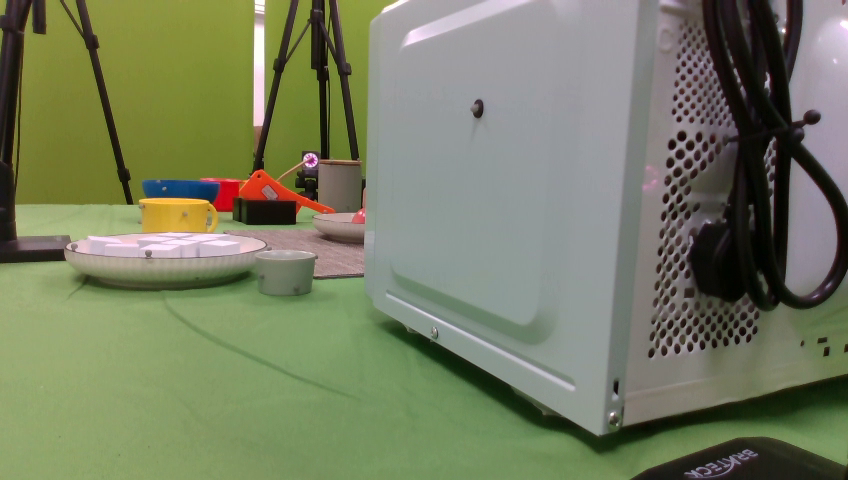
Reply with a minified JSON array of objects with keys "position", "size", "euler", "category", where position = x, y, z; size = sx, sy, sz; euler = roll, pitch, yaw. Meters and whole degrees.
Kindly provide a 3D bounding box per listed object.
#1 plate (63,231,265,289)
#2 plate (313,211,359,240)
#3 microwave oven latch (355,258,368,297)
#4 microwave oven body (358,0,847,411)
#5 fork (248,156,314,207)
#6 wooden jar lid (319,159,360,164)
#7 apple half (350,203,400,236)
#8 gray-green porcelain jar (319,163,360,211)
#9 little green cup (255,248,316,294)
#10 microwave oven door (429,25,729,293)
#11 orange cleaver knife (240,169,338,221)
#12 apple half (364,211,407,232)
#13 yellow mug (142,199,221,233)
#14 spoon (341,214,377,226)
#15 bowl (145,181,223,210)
[{"position":[-0.288,0.021,0.686],"size":[0.208,0.039,0.207],"euler":[2,8,0],"category":"plate"},{"position":[-0.090,-0.026,1.062],"size":[0.209,0.038,0.209],"euler":[2,7,0],"category":"plate"},{"position":[-0.020,0.032,0.521],"size":[0.079,0.029,0.030],"euler":[1,6,-13],"category":"microwave oven latch"},{"position":[0.210,-0.051,0.471],"size":[0.444,0.260,0.324],"euler":[-1,7,-28],"category":"microwave oven body"},{"position":[-0.360,-0.147,1.522],"size":[0.207,0.018,0.028],"euler":[-43,15,-7],"category":"fork"},{"position":[-0.202,-0.189,1.481],"size":[0.108,0.020,0.108],"euler":[2,10,0],"category":"wooden jar lid"},{"position":[-0.081,-0.036,1.023],"size":[0.081,0.053,0.074],"euler":[-2,11,-34],"category":"apple half"},{"position":[-0.204,-0.126,1.489],"size":[0.106,0.126,0.106],"euler":[2,7,0],"category":"gray-green porcelain jar"},{"position":[-0.144,0.032,0.626],"size":[0.061,0.038,0.061],"euler":[3,7,0],"category":"little green cup"},{"position":[0.176,-0.078,0.628],"size":[0.357,0.243,0.039],"euler":[-2,8,-25],"category":"microwave oven door"},{"position":[-0.286,-0.081,1.298],"size":[0.212,0.077,0.012],"euler":[25,-1,-31],"category":"orange cleaver knife"},{"position":[-0.068,-0.037,1.103],"size":[0.081,0.033,0.081],"euler":[-1,10,0],"category":"apple half"},{"position":[-0.372,-0.030,0.947],"size":[0.099,0.064,0.131],"euler":[5,7,30],"category":"yellow mug"},{"position":[-0.132,-0.048,1.304],"size":[0.041,0.021,0.194],"euler":[-15,3,14],"category":"spoon"},{"position":[-0.498,-0.081,1.261],"size":[0.151,0.077,0.151],"euler":[2,7,0],"category":"bowl"}]
